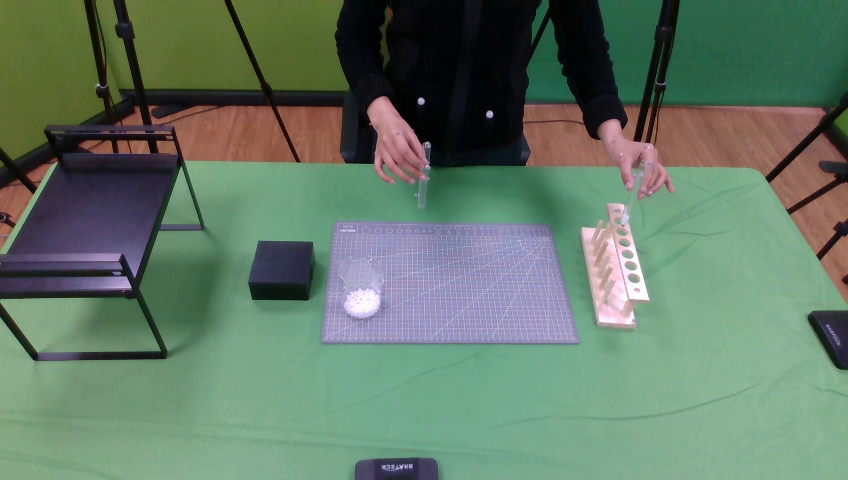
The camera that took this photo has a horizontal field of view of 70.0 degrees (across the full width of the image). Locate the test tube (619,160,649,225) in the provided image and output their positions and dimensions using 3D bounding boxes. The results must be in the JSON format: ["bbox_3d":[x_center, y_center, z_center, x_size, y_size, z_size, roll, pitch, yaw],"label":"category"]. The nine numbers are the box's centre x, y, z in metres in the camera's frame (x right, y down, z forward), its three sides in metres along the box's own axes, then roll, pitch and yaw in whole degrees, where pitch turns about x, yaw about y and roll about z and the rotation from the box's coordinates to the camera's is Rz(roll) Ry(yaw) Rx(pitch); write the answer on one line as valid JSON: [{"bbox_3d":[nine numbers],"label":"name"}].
[{"bbox_3d":[0.373,-0.082,1.080,0.017,0.151,0.017,0,48,0],"label":"test tube"}]

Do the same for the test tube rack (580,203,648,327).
[{"bbox_3d":[0.352,0.041,1.143,0.067,0.085,0.241,4,46,-1],"label":"test tube rack"}]

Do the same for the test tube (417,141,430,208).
[{"bbox_3d":[-0.001,-0.117,1.113,0.017,0.151,0.017,3,44,-3],"label":"test tube"}]

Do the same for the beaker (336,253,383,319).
[{"bbox_3d":[-0.108,0.084,1.052,0.084,0.101,0.074,25,50,17],"label":"beaker"}]
